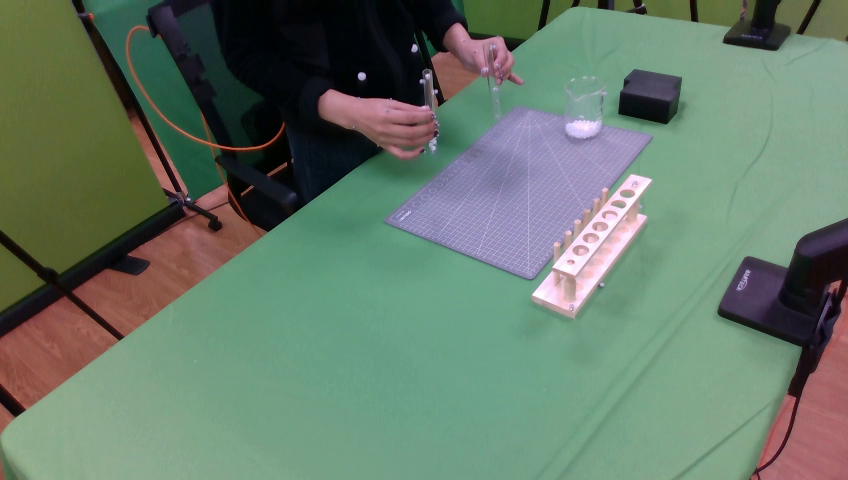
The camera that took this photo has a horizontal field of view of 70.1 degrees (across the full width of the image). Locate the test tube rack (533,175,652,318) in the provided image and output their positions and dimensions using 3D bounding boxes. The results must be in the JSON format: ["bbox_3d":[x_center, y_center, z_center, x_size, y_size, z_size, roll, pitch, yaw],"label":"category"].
[{"bbox_3d":[0.250,-0.001,0.889,0.066,0.085,0.243,22,49,33],"label":"test tube rack"}]

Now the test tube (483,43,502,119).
[{"bbox_3d":[0.123,-0.281,1.080,0.017,0.151,0.017,-8,43,9],"label":"test tube"}]

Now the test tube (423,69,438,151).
[{"bbox_3d":[0.011,-0.207,0.982,0.017,0.151,0.017,-3,45,3],"label":"test tube"}]

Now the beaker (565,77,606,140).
[{"bbox_3d":[0.304,-0.247,1.153,0.073,0.101,0.084,15,47,27],"label":"beaker"}]
